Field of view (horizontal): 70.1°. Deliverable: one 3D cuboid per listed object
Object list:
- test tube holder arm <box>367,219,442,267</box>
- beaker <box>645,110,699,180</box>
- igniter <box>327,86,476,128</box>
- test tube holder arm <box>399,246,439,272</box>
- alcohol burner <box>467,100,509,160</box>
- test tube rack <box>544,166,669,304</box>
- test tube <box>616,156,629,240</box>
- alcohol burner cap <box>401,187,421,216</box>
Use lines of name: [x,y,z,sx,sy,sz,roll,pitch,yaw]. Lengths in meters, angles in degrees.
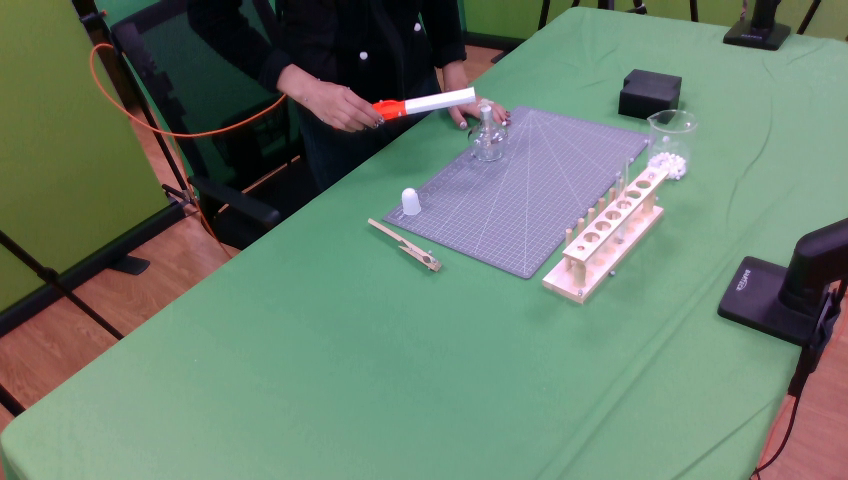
test tube holder arm: [-0.035,0.003,0.985,0.177,0.015,0.013,32,90,40]
beaker: [0.417,-0.160,1.033,0.083,0.101,0.074,25,51,34]
igniter: [-0.044,-0.241,1.101,0.276,0.025,0.057,-9,43,7]
test tube holder arm: [-0.009,0.026,0.957,0.087,0.015,0.010,34,91,40]
alcohol burner: [0.118,-0.210,1.130,0.078,0.119,0.077,-5,42,5]
test tube rack: [0.274,-0.018,0.903,0.066,0.085,0.243,26,51,35]
test tube: [0.284,-0.057,0.869,0.017,0.151,0.017,-8,42,8]
alcohol burner cap: [-0.025,-0.070,1.048,0.034,0.048,0.033,-5,41,5]
